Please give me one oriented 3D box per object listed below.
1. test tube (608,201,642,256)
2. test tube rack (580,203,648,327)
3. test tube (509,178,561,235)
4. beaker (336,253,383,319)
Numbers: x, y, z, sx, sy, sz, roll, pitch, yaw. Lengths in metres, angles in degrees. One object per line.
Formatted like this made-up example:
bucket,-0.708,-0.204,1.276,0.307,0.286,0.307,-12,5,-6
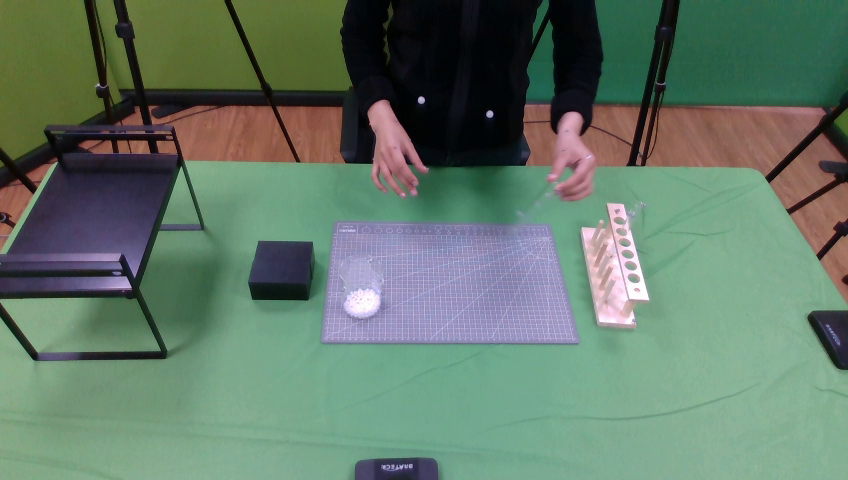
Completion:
test tube,0.374,-0.019,1.134,0.017,0.151,0.017,3,51,-4
test tube rack,0.352,0.041,1.143,0.067,0.085,0.241,4,46,0
test tube,0.195,-0.059,1.071,0.017,0.151,0.017,17,47,-19
beaker,-0.108,0.084,1.052,0.084,0.101,0.074,25,50,17
